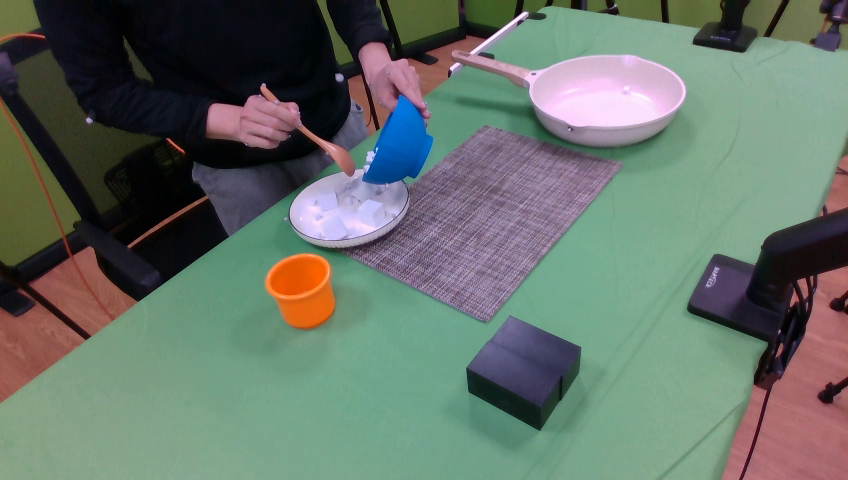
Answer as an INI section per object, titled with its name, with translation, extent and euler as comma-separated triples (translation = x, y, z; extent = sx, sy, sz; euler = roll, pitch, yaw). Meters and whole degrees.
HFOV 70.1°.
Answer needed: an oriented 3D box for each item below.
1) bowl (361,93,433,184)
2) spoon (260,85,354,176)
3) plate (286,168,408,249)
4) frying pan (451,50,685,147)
[bowl]
translation = -0.036, -0.148, 0.960
extent = 0.077, 0.151, 0.151
euler = 23, 41, -10
[spoon]
translation = -0.178, -0.167, 0.935
extent = 0.021, 0.195, 0.041
euler = -31, 33, 35
[plate]
translation = -0.127, -0.051, 1.028
extent = 0.207, 0.039, 0.206
euler = -5, 39, 5
[frying pan]
translation = 0.269, -0.316, 1.233
extent = 0.485, 0.103, 0.307
euler = 26, 49, 21
